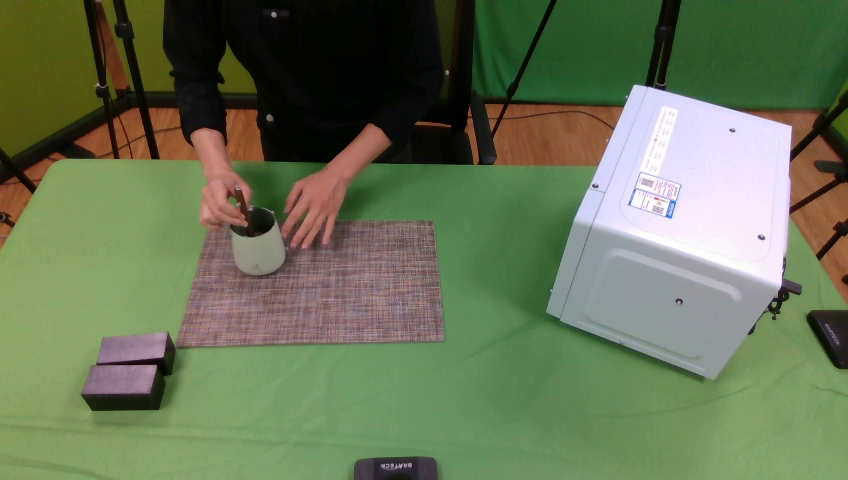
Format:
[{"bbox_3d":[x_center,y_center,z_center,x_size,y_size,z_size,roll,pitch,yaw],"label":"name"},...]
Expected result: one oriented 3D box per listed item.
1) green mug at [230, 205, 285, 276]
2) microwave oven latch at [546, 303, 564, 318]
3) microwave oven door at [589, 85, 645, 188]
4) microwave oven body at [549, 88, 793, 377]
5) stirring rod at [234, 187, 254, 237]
[{"bbox_3d":[-0.311,-0.008,1.118,0.092,0.105,0.124,-14,49,-16],"label":"green mug"},{"bbox_3d":[0.242,0.102,1.081,0.030,0.029,0.079,21,48,17],"label":"microwave oven latch"},{"bbox_3d":[0.342,-0.107,1.148,0.039,0.245,0.354,20,48,15],"label":"microwave oven door"},{"bbox_3d":[0.456,-0.028,1.087,0.325,0.261,0.440,20,47,16],"label":"microwave oven body"},{"bbox_3d":[-0.303,-0.023,1.044,0.014,0.177,0.006,16,49,14],"label":"stirring rod"}]
